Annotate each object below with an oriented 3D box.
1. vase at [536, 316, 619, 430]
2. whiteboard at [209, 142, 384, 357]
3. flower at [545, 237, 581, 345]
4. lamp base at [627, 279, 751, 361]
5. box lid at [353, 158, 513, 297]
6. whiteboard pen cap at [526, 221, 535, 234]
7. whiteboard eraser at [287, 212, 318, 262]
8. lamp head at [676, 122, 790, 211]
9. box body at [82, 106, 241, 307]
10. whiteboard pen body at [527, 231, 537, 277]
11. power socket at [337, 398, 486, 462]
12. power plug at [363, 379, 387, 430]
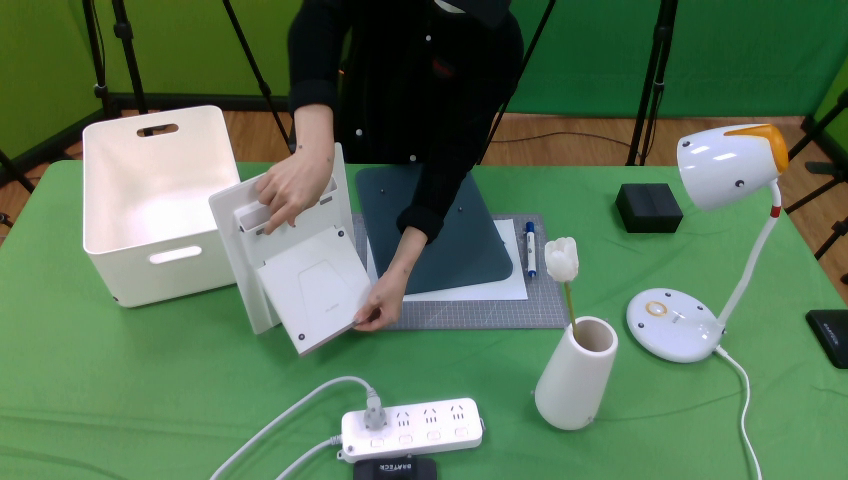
[{"bbox_3d":[0.229,0.200,0.901,0.098,0.201,0.097,3,46,-3],"label":"vase"},{"bbox_3d":[-0.172,0.039,0.947,0.217,0.307,0.143,-28,52,-26],"label":"whiteboard"},{"bbox_3d":[0.213,0.137,0.846,0.038,0.364,0.044,21,55,40],"label":"flower"},{"bbox_3d":[0.460,0.100,1.027,0.178,0.181,0.160,27,51,17],"label":"lamp base"},{"bbox_3d":[0.009,-0.039,1.242,0.264,0.015,0.369,-8,47,-12],"label":"box lid"},{"bbox_3d":[0.216,-0.022,1.234,0.018,0.018,0.033,7,45,2],"label":"whiteboard pen cap"},{"bbox_3d":[-0.234,-0.007,1.173,0.055,0.042,0.112,-4,46,-5],"label":"whiteboard eraser"},{"bbox_3d":[0.423,-0.104,0.819,0.122,0.113,0.112,-13,33,40],"label":"lamp head"},{"bbox_3d":[-0.471,-0.071,1.131,0.254,0.161,0.361,-14,49,-17],"label":"box body"},{"bbox_3d":[0.211,0.018,1.191,0.017,0.017,0.140,6,44,2],"label":"whiteboard pen body"},{"bbox_3d":[-0.018,0.285,0.914,0.227,0.033,0.071,-4,46,-8],"label":"power socket"},{"bbox_3d":[-0.071,0.252,0.911,0.035,0.053,0.072,3,40,0],"label":"power plug"}]
